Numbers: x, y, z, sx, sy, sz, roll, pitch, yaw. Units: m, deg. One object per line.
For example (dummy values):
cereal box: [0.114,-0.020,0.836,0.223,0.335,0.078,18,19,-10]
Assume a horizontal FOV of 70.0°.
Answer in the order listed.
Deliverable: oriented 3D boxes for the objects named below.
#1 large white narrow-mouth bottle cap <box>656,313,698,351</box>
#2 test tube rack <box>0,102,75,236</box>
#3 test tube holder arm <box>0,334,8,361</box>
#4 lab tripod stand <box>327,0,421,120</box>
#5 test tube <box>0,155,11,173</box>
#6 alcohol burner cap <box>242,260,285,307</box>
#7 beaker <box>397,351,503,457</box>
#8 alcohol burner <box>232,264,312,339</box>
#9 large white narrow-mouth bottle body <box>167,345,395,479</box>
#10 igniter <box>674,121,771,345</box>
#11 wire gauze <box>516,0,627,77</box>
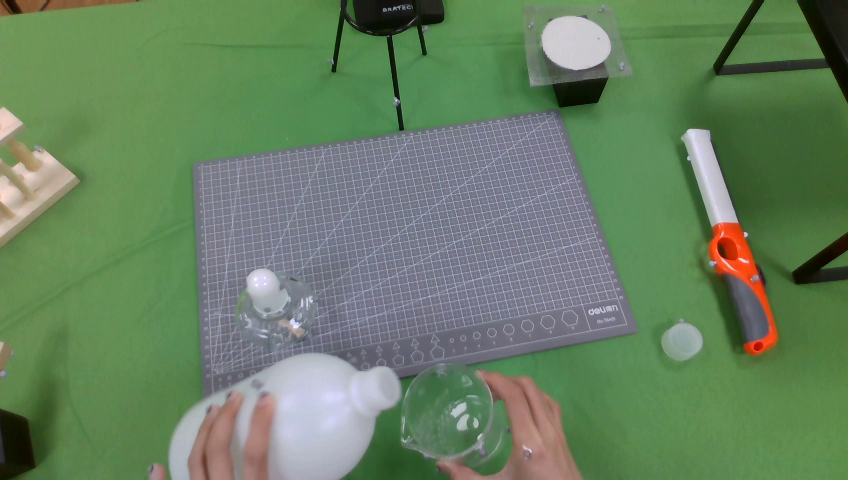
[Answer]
large white narrow-mouth bottle cap: [0.264,0.096,0.634,0.038,0.024,0.037,1,65,-1]
test tube rack: [-0.502,-0.028,0.628,0.066,0.086,0.242,36,69,14]
test tube holder arm: [-0.403,0.169,0.527,0.013,0.015,0.177,2,65,6]
lab tripod stand: [-0.051,-0.238,0.714,0.148,0.132,0.147,2,66,-3]
test tube: [-0.472,-0.112,0.613,0.017,0.151,0.017,-1,64,2]
alcohol burner cap: [-0.148,0.038,0.552,0.034,0.048,0.033,-1,60,2]
beaker: [0.025,0.146,0.518,0.084,0.101,0.073,-35,62,-2]
alcohol burner: [-0.149,0.053,0.585,0.078,0.120,0.077,2,63,-3]
large white narrow-mouth bottle body: [-0.104,0.139,0.474,0.194,0.102,0.101,-29,63,26]
igniter: [0.334,-0.017,0.684,0.057,0.025,0.274,0,65,-13]
wire gauze: [0.177,-0.253,0.744,0.121,0.011,0.124,-3,65,-3]
